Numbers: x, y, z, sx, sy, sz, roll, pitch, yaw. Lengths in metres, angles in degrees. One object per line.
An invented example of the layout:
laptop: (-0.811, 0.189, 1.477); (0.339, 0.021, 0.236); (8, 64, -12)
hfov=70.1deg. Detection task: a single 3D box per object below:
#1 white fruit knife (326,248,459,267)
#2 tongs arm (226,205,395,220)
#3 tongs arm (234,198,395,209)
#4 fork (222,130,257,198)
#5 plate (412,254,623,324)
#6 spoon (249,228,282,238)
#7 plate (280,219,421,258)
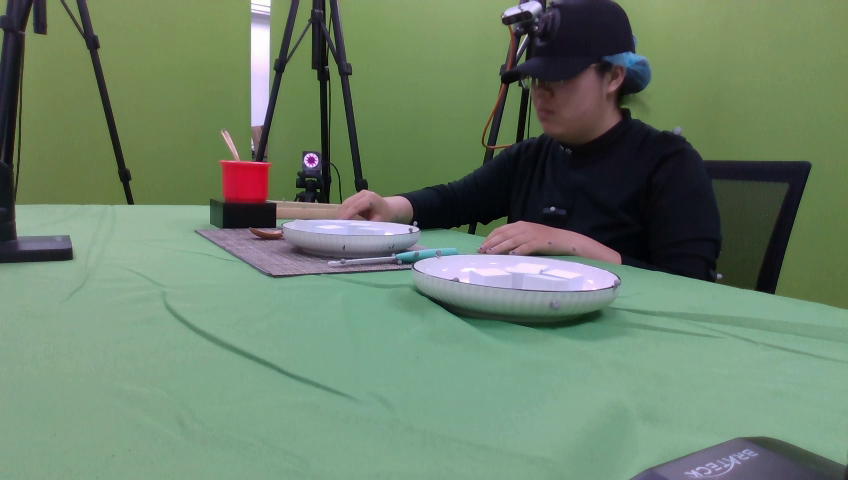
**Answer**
white fruit knife: (-0.034, 0.025, 0.807); (0.208, 0.016, 0.027); (-4, -19, -34)
tongs arm: (-0.247, -0.062, 1.382); (0.389, 0.028, 0.028); (0, 5, -21)
tongs arm: (-0.263, -0.076, 1.460); (0.386, 0.026, 0.050); (3, 8, -8)
fork: (-0.368, -0.152, 1.193); (0.028, 0.018, 0.206); (-9, 54, -30)
plate: (0.090, 0.047, 0.609); (0.209, 0.038, 0.209); (2, 7, 0)
spoon: (-0.197, -0.019, 1.022); (0.195, 0.021, 0.041); (-6, 7, -29)
plate: (-0.108, -0.002, 0.902); (0.208, 0.039, 0.207); (3, 7, 0)
